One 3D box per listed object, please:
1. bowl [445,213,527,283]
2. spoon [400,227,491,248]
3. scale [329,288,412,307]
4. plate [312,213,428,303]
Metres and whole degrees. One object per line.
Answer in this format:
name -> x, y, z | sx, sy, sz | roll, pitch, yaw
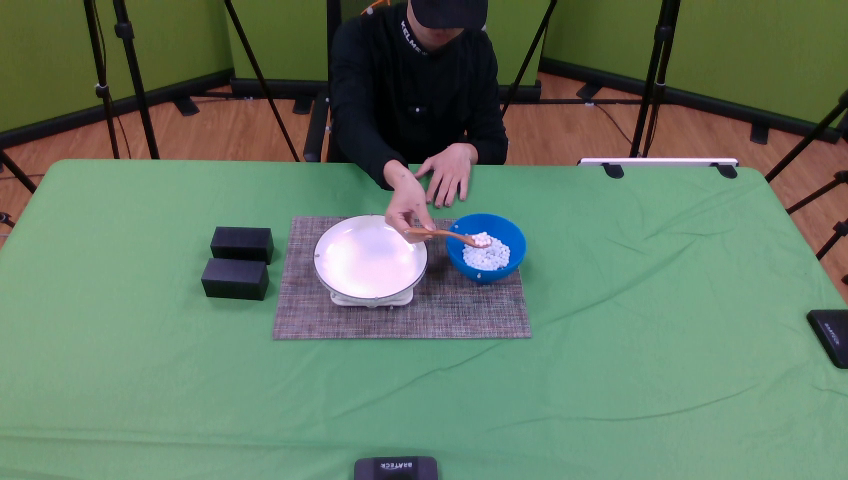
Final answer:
bowl -> 0.111, 0.028, 1.137 | 0.151, 0.077, 0.150 | 2, 46, -2
spoon -> 0.041, -0.009, 1.069 | 0.194, 0.022, 0.041 | 10, 31, -35
scale -> -0.098, 0.042, 1.139 | 0.149, 0.032, 0.199 | 0, 46, -4
plate -> -0.097, 0.036, 1.100 | 0.209, 0.038, 0.208 | 2, 46, -2
